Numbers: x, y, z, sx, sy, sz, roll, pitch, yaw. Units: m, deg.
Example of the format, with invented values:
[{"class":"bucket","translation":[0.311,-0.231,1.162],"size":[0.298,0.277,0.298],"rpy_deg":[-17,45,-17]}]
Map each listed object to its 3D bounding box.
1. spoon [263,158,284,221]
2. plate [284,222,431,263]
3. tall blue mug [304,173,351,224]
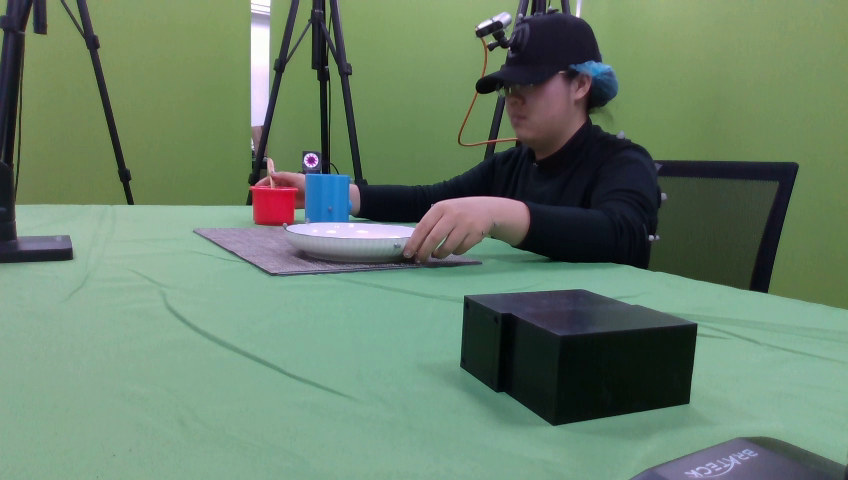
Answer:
[{"class":"spoon","translation":[-0.319,-0.110,1.274],"size":[0.042,0.021,0.193],"rpy_deg":[3,51,-20]},{"class":"plate","translation":[-0.095,0.002,0.870],"size":[0.208,0.039,0.207],"rpy_deg":[2,7,0]},{"class":"tall blue mug","translation":[-0.178,-0.062,1.062],"size":[0.078,0.108,0.106],"rpy_deg":[-4,10,-38]}]
